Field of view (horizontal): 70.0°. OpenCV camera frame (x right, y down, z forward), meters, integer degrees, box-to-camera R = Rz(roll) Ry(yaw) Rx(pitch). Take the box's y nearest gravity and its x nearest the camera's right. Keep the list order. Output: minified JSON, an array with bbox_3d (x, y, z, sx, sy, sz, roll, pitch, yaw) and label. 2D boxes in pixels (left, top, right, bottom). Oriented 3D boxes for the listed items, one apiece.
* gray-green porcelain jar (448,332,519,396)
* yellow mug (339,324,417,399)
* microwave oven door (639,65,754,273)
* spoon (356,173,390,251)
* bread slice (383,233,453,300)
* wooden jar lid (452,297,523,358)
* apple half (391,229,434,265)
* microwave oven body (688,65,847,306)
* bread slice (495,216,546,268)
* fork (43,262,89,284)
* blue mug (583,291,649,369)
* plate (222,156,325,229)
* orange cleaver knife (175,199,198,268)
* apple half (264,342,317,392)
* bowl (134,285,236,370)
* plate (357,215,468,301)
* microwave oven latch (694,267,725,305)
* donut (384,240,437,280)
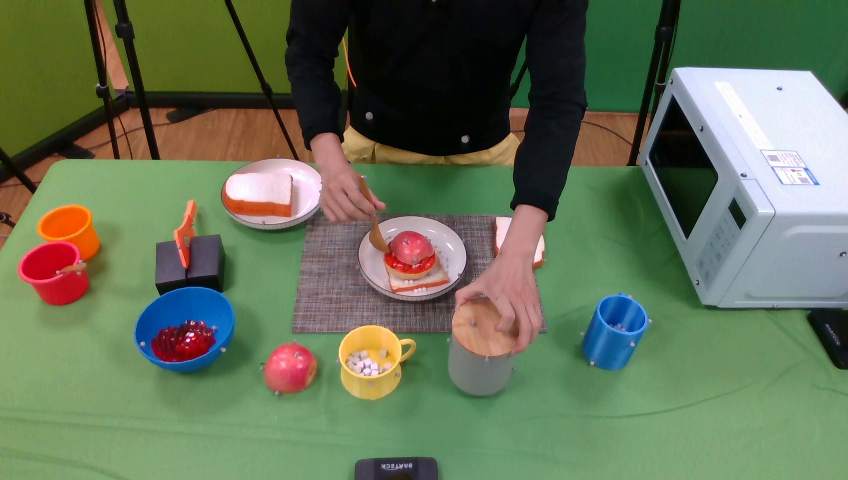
[{"bbox_3d":[0.092,0.177,0.960,0.106,0.127,0.105,2,46,-2],"label":"gray-green porcelain jar"},{"bbox_3d":[-0.072,0.190,0.978,0.131,0.064,0.099,-17,50,-20],"label":"yellow mug"},{"bbox_3d":[0.522,-0.147,1.193,0.039,0.245,0.353,0,47,-3],"label":"microwave oven door"},{"bbox_3d":[-0.086,-0.042,0.992,0.041,0.195,0.021,25,56,27],"label":"spoon"},{"bbox_3d":[-0.021,0.046,1.156,0.107,0.018,0.133,-17,62,-20],"label":"bread slice"},{"bbox_3d":[0.095,0.134,0.915,0.108,0.021,0.107,3,48,-3],"label":"wooden jar lid"},{"bbox_3d":[-0.021,0.003,1.085,0.081,0.033,0.081,7,44,-7],"label":"apple half"},{"bbox_3d":[0.669,-0.111,1.176,0.326,0.261,0.439,0,46,-3],"label":"microwave oven body"},{"bbox_3d":[0.194,0.002,1.205,0.105,0.019,0.131,5,45,2],"label":"bread slice"},{"bbox_3d":[-0.599,0.053,1.013,0.207,0.019,0.028,-14,30,45],"label":"fork"},{"bbox_3d":[0.324,0.142,1.023,0.082,0.106,0.116,15,47,11],"label":"blue mug"},{"bbox_3d":[-0.308,-0.095,1.251,0.209,0.038,0.208,2,47,-2],"label":"plate"},{"bbox_3d":[-0.438,-0.017,1.138,0.012,0.077,0.210,-14,27,-7],"label":"orange cleaver knife"},{"bbox_3d":[-0.214,0.198,0.970,0.074,0.053,0.080,19,48,10],"label":"apple half"},{"bbox_3d":[-0.377,0.155,0.981,0.151,0.077,0.150,2,46,-2],"label":"bowl"},{"bbox_3d":[-0.022,0.037,1.141,0.208,0.039,0.206,2,46,-2],"label":"plate"},{"bbox_3d":[0.524,0.082,1.115,0.030,0.029,0.078,4,46,1],"label":"microwave oven latch"},{"bbox_3d":[-0.025,0.029,1.109,0.099,0.048,0.098,2,46,-2],"label":"donut"}]
